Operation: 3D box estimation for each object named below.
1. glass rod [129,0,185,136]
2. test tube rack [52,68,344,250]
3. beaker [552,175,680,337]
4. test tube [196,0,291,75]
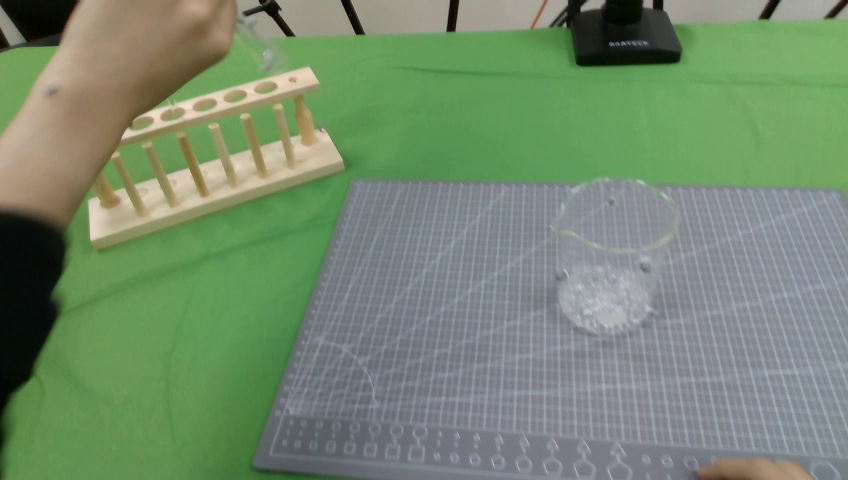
[{"bbox_3d":[-0.226,-0.126,0.534,0.008,0.201,0.008,0,48,0],"label":"glass rod"},{"bbox_3d":[-0.208,-0.080,0.581,0.243,0.086,0.066,-20,47,-13],"label":"test tube rack"},{"bbox_3d":[0.130,0.016,0.435,0.084,0.101,0.073,-11,45,-3],"label":"beaker"},{"bbox_3d":[-0.141,-0.160,0.400,0.017,0.152,0.017,-14,59,25],"label":"test tube"}]
